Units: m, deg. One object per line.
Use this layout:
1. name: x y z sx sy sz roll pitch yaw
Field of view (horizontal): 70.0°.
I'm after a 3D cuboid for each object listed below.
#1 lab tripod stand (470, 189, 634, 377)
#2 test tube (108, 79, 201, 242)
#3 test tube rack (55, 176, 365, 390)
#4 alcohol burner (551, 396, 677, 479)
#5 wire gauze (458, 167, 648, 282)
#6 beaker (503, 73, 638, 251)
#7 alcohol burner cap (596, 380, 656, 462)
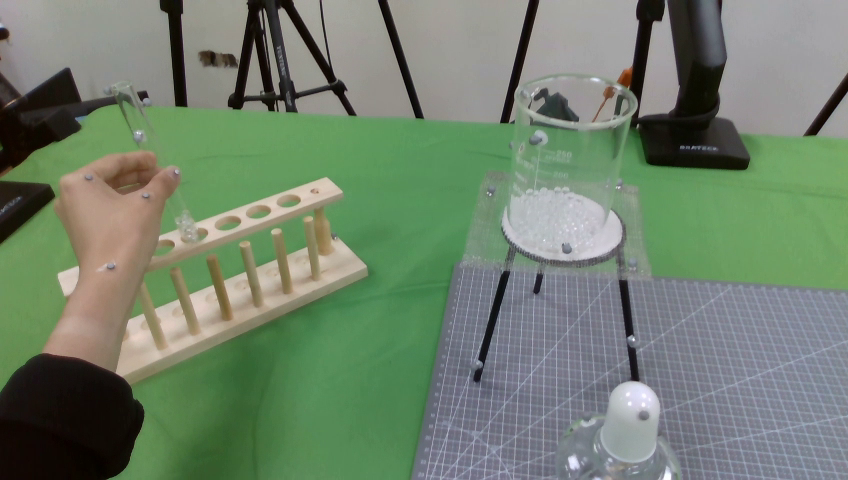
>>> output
1. lab tripod stand: 0.104 0.038 0.476 0.148 0.132 0.147 0 37 0
2. test tube: -0.210 -0.055 0.481 0.017 0.151 0.017 -5 39 5
3. test tube rack: -0.177 0.030 0.543 0.243 0.086 0.066 -24 43 -26
4. alcohol burner: 0.119 0.130 0.373 0.078 0.120 0.077 -1 40 1
5. wire gauze: 0.093 -0.013 0.435 0.121 0.011 0.124 6 41 10
6. beaker: 0.089 -0.051 0.403 0.074 0.101 0.083 -27 45 -31
7. alcohol burner cap: 0.119 0.102 0.351 0.034 0.048 0.033 -3 37 3
